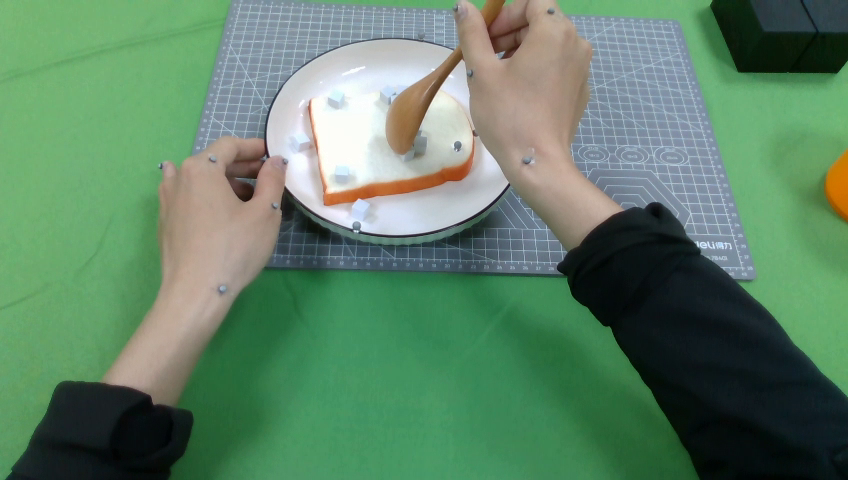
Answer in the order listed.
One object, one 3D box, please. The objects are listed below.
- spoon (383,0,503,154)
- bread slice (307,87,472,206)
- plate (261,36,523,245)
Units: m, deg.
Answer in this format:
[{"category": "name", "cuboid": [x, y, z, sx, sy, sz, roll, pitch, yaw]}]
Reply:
[{"category": "spoon", "cuboid": [0.021, -0.134, 0.421, 0.022, 0.194, 0.041, 6, 48, -42]}, {"category": "bread slice", "cuboid": [-0.027, -0.085, 0.500, 0.132, 0.019, 0.104, -12, 61, -9]}, {"category": "plate", "cuboid": [-0.025, -0.082, 0.495, 0.209, 0.038, 0.207, 2, 60, -3]}]
